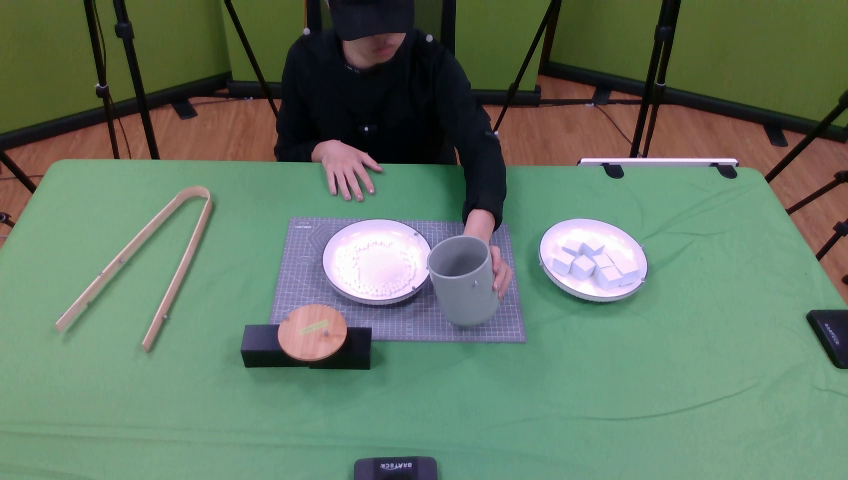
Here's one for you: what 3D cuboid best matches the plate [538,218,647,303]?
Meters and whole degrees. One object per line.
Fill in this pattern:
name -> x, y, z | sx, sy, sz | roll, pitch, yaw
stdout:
plate -> 0.322, 0.042, 1.171 | 0.208, 0.039, 0.206 | 2, 46, -2

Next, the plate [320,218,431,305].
plate -> -0.089, 0.044, 1.134 | 0.209, 0.038, 0.208 | 3, 46, -3

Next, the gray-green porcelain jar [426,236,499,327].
gray-green porcelain jar -> 0.068, 0.074, 1.011 | 0.106, 0.127, 0.105 | -10, 39, 8

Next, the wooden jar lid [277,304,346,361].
wooden jar lid -> -0.179, 0.150, 0.972 | 0.108, 0.021, 0.107 | 2, 45, -2

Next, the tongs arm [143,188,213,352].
tongs arm -> -0.450, 0.040, 1.122 | 0.028, 0.028, 0.385 | 3, 46, 1

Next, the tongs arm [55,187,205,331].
tongs arm -> -0.530, 0.022, 1.126 | 0.051, 0.026, 0.383 | 15, 46, 8
